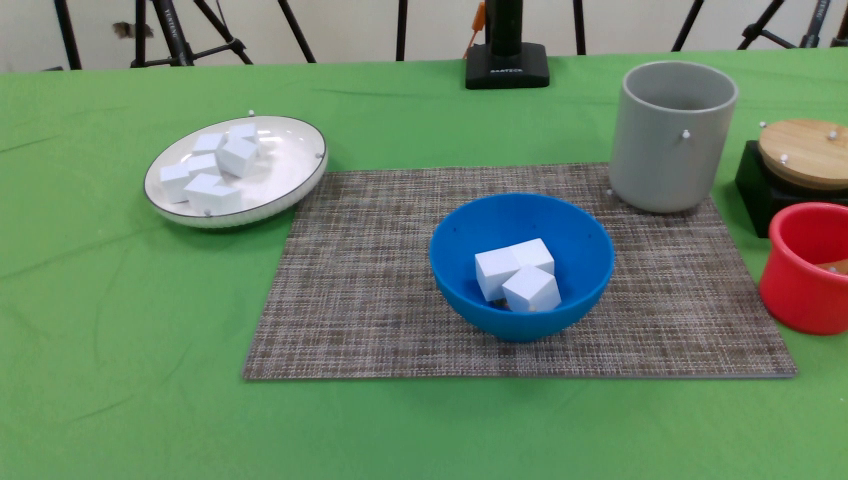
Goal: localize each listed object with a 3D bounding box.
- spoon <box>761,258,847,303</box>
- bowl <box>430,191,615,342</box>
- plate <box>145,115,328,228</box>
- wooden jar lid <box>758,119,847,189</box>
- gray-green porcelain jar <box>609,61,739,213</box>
[{"bbox_3d":[0.365,0.010,0.473,0.022,0.193,0.041,43,44,-16],"label":"spoon"},{"bbox_3d":[0.081,0.034,0.518,0.151,0.077,0.150,-3,41,3],"label":"bowl"},{"bbox_3d":[-0.213,-0.079,0.708,0.209,0.038,0.207,-3,41,3],"label":"plate"},{"bbox_3d":[0.386,-0.084,0.596,0.108,0.021,0.107,-3,41,3],"label":"wooden jar lid"},{"bbox_3d":[0.247,-0.100,0.616,0.106,0.128,0.105,-3,42,3],"label":"gray-green porcelain jar"}]
